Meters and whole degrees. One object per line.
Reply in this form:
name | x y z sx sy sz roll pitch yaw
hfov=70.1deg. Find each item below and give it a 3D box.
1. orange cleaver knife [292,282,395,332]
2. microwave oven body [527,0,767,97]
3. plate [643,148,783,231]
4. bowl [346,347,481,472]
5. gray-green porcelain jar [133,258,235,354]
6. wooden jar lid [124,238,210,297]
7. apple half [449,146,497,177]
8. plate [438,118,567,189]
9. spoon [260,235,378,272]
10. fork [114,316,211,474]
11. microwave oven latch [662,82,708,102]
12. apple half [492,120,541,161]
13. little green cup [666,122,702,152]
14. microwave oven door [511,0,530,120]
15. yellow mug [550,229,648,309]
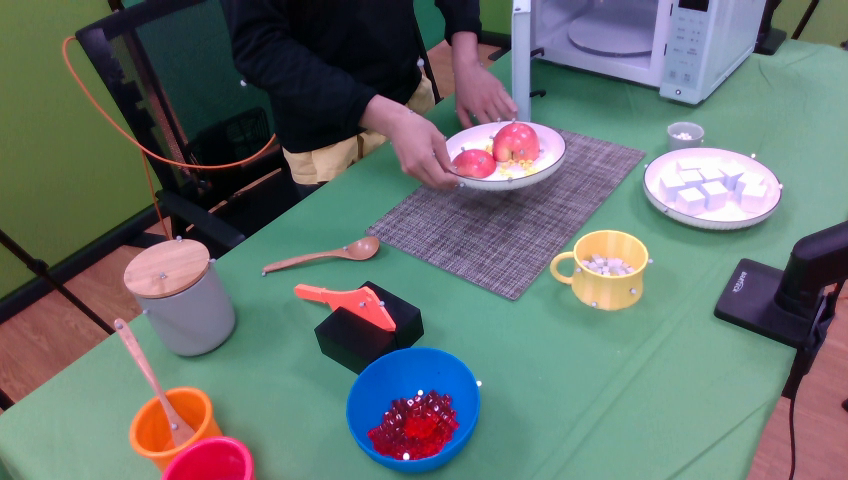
orange cleaver knife | -0.115 0.091 0.835 0.209 0.077 0.012 2 32 48
microwave oven body | 0.473 -0.516 1.314 0.438 0.261 0.327 26 51 34
plate | 0.464 -0.080 0.986 0.207 0.039 0.206 -4 40 4
bowl | -0.008 0.205 0.691 0.151 0.077 0.150 -4 40 4
gray-green porcelain jar | -0.328 0.086 0.836 0.106 0.127 0.105 -4 41 4
wooden jar lid | -0.335 0.038 0.794 0.108 0.021 0.108 -2 40 2
apple half | 0.081 -0.136 0.982 0.081 0.033 0.081 -3 36 3
plate | 0.128 -0.137 0.986 0.209 0.038 0.208 -6 35 5
spoon | -0.167 0.024 0.966 0.194 0.022 0.041 -10 58 -3
fork | -0.309 0.179 0.708 0.028 0.018 0.207 -30 89 -24
microwave oven latch | 0.517 -0.298 1.202 0.078 0.029 0.030 27 52 34
apple half | 0.153 -0.169 0.998 0.080 0.053 0.075 8 37 24
little green cup | 0.471 -0.184 1.102 0.061 0.039 0.061 -5 41 5
microwave oven door | 0.196 -0.411 1.223 0.039 0.245 0.354 0 41 9
yellow mug | 0.245 0.039 0.857 0.130 0.064 0.099 1 42 11
